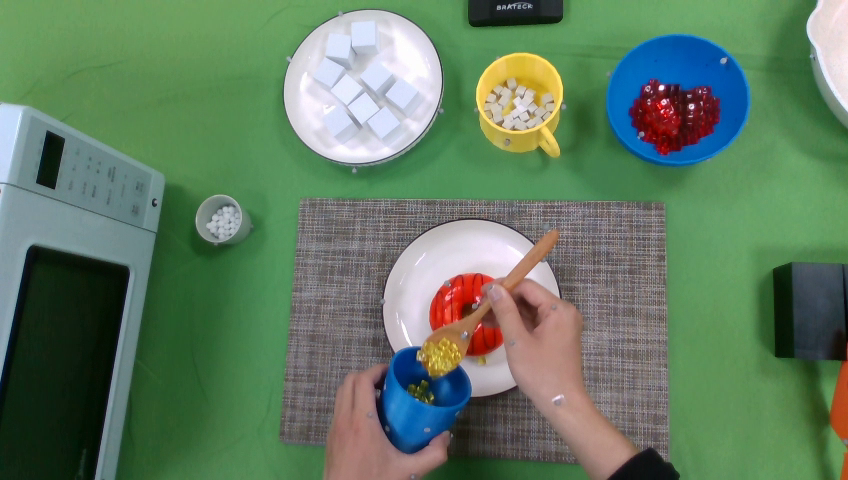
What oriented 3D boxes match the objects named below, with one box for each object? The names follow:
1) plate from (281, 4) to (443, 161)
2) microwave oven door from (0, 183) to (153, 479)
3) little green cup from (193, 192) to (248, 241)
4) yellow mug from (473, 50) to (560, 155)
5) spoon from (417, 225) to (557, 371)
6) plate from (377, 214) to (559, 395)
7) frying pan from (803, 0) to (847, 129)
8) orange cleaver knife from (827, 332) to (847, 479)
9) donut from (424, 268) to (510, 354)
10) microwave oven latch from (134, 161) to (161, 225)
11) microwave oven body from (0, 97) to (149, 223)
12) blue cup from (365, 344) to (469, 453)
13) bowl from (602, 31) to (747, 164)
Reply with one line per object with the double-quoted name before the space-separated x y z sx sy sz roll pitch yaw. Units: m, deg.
"plate" -0.077 -0.197 0.775 0.207 0.039 0.207 -1 80 8
"microwave oven door" -0.401 0.138 0.644 0.039 0.245 0.354 4 81 10
"little green cup" -0.257 -0.027 0.773 0.061 0.039 0.061 -1 82 8
"yellow mug" 0.119 -0.155 0.724 0.100 0.064 0.130 -35 78 2
"spoon" 0.057 0.057 0.563 0.041 0.021 0.194 44 119 6
"plate" 0.050 0.074 0.707 0.209 0.038 0.208 -1 81 8
"frying pan" 0.551 -0.117 0.633 0.306 0.103 0.485 7 74 11
"orange cleaver knife" 0.430 0.181 0.614 0.012 0.077 0.212 1 110 9
"donut" 0.049 0.081 0.694 0.099 0.048 0.099 -1 84 10
"microwave oven latch" -0.360 -0.061 0.775 0.030 0.029 0.079 8 83 9
"microwave oven body" -0.538 0.085 0.679 0.325 0.261 0.440 5 82 9
"blue cup" -0.015 0.167 0.611 0.092 0.092 0.100 45 134 13
"bowl" 0.276 -0.151 0.694 0.151 0.077 0.151 -1 81 9
